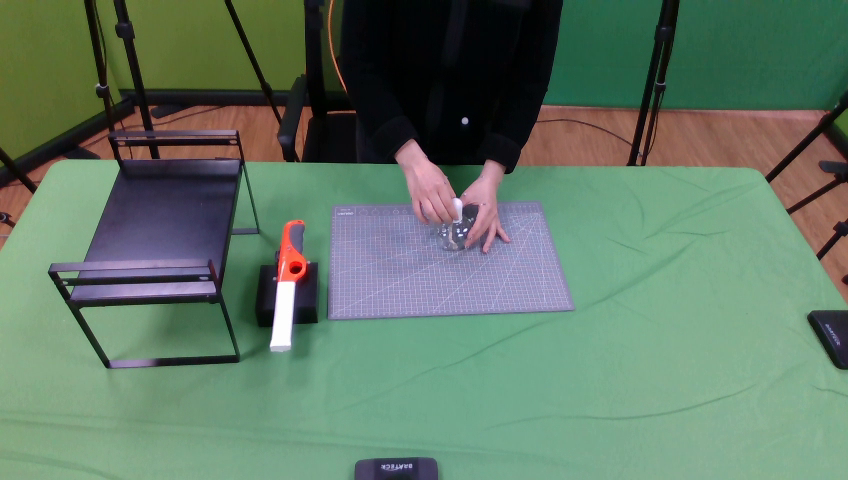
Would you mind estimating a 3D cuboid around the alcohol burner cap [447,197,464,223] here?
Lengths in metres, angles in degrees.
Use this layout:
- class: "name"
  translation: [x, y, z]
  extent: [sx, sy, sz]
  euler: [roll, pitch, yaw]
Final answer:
- class: "alcohol burner cap"
  translation: [0.060, -0.060, 1.147]
  extent: [0.034, 0.048, 0.033]
  euler: [-1, 46, 1]

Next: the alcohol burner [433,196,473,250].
- class: "alcohol burner"
  translation: [0.058, -0.038, 1.170]
  extent: [0.078, 0.119, 0.077]
  euler: [3, 44, -2]

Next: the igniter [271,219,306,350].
- class: "igniter"
  translation: [-0.235, 0.067, 1.047]
  extent: [0.057, 0.025, 0.274]
  euler: [0, 49, -6]
